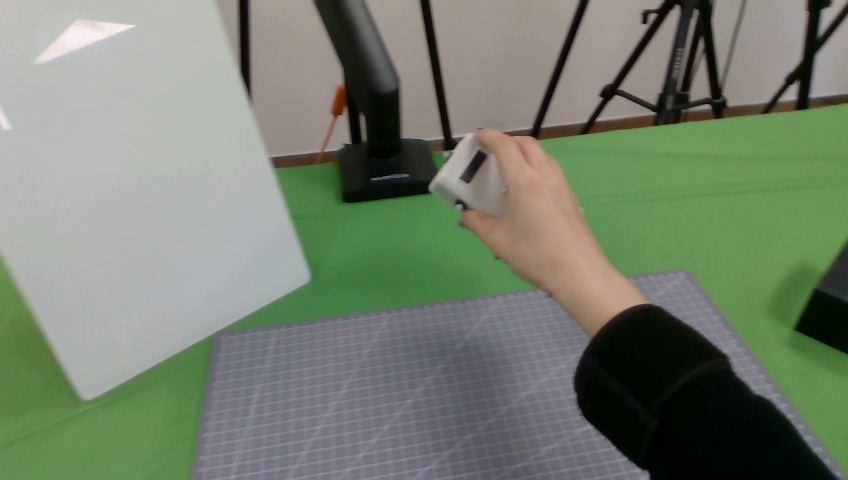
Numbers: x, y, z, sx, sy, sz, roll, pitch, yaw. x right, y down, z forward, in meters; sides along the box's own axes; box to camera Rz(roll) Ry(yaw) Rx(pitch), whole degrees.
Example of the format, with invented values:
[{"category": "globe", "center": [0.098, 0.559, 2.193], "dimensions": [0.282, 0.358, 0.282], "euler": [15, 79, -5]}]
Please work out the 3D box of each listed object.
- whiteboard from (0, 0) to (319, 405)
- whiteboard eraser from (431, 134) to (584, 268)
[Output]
[{"category": "whiteboard", "center": [-0.263, -0.059, 0.537], "dimensions": [0.217, 0.307, 0.142], "euler": [-30, 26, -31]}, {"category": "whiteboard eraser", "center": [0.065, -0.030, 0.476], "dimensions": [0.113, 0.042, 0.055], "euler": [34, 68, -1]}]
